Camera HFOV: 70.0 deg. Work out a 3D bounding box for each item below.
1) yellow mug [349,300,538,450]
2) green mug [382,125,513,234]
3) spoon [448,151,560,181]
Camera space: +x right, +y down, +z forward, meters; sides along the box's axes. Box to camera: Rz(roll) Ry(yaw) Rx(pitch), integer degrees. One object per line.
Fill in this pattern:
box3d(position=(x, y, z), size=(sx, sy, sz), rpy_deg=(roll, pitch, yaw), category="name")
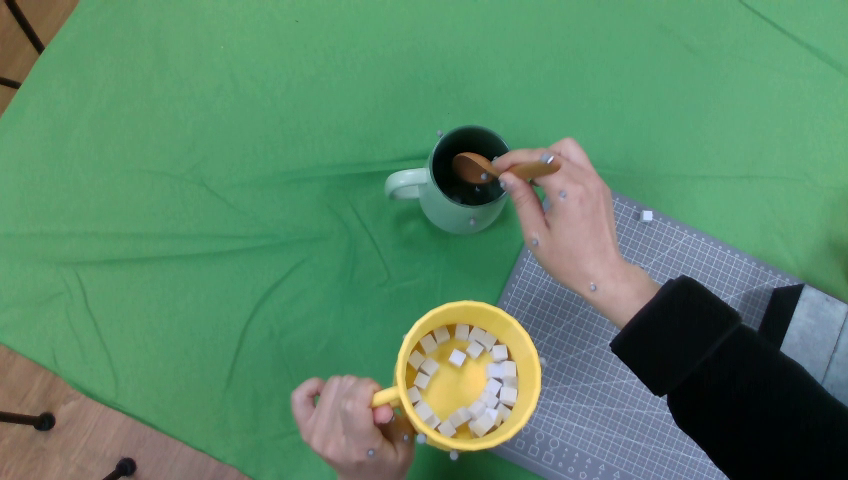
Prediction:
box3d(position=(0.011, 0.103, 0.434), size=(0.131, 0.064, 0.099), rpy_deg=(-14, 73, -9), category="yellow mug")
box3d(position=(0.021, -0.055, 0.589), size=(0.125, 0.105, 0.092), rpy_deg=(-6, 82, -4), category="green mug")
box3d(position=(0.062, -0.058, 0.499), size=(0.042, 0.192, 0.021), rpy_deg=(38, 88, -17), category="spoon")
